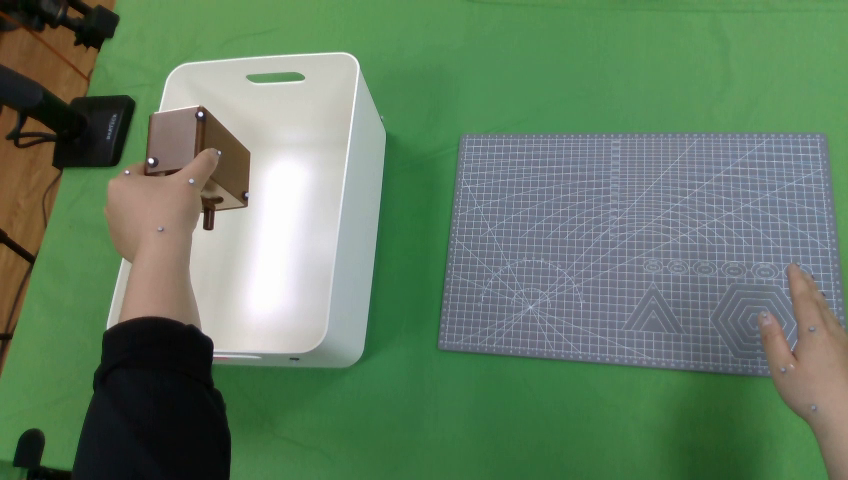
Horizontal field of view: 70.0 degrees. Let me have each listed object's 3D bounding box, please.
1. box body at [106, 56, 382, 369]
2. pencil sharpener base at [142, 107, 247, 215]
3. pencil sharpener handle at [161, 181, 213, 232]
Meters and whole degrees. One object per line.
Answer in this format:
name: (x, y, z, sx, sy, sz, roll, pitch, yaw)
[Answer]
box body: (-0.198, -0.025, 0.758, 0.253, 0.161, 0.361, -1, 70, 11)
pencil sharpener base: (-0.235, -0.076, 0.630, 0.061, 0.108, 0.076, -7, 71, 8)
pencil sharpener handle: (-0.232, -0.032, 0.602, 0.036, 0.068, 0.030, -9, 70, 13)
